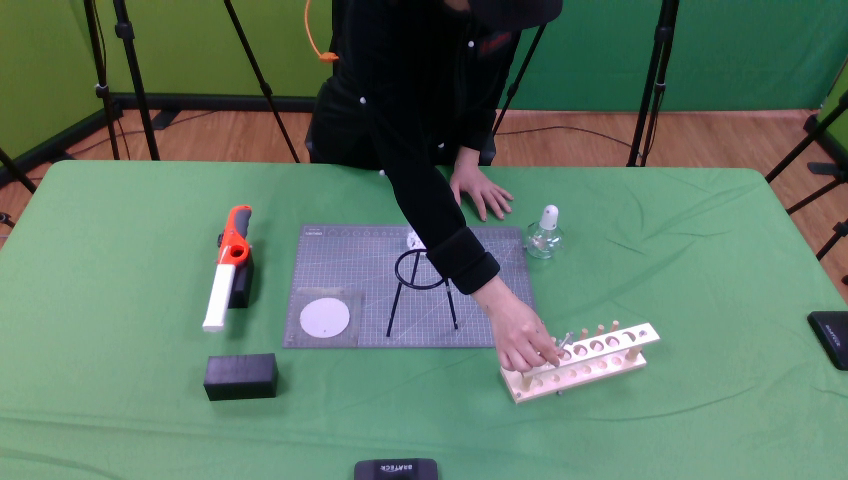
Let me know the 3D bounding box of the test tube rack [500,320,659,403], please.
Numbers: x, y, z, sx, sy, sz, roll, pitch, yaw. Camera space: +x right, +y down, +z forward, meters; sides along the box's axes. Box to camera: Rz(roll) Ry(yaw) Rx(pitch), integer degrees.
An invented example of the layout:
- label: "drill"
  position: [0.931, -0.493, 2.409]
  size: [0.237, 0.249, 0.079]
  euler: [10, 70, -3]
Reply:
- label: "test tube rack"
  position: [0.253, 0.187, 0.994]
  size: [0.243, 0.085, 0.066]
  euler: [-12, 48, -15]

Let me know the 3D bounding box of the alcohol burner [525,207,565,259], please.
- label: "alcohol burner"
  position: [0.236, -0.020, 1.174]
  size: [0.078, 0.120, 0.077]
  euler: [1, 48, -1]

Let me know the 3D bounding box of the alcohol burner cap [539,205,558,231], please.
- label: "alcohol burner cap"
  position: [0.239, -0.045, 1.148]
  size: [0.034, 0.048, 0.033]
  euler: [2, 42, -1]

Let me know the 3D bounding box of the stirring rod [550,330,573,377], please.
- label: "stirring rod"
  position: [0.201, 0.170, 0.894]
  size: [0.006, 0.177, 0.014]
  euler: [-10, 60, -4]

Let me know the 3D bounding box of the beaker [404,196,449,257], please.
- label: "beaker"
  position: [0.002, -0.023, 1.164]
  size: [0.084, 0.101, 0.073]
  euler: [6, 46, 0]

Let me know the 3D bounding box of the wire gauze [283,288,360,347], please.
- label: "wire gauze"
  position: [-0.177, 0.132, 1.062]
  size: [0.125, 0.011, 0.120]
  euler: [2, 47, 1]

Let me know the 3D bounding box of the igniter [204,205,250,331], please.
- label: "igniter"
  position: [-0.344, 0.039, 1.064]
  size: [0.057, 0.025, 0.274]
  euler: [2, 48, -6]

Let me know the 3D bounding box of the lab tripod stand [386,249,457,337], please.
- label: "lab tripod stand"
  position: [-0.010, 0.087, 1.032]
  size: [0.148, 0.132, 0.147]
  euler: [1, 45, -1]
